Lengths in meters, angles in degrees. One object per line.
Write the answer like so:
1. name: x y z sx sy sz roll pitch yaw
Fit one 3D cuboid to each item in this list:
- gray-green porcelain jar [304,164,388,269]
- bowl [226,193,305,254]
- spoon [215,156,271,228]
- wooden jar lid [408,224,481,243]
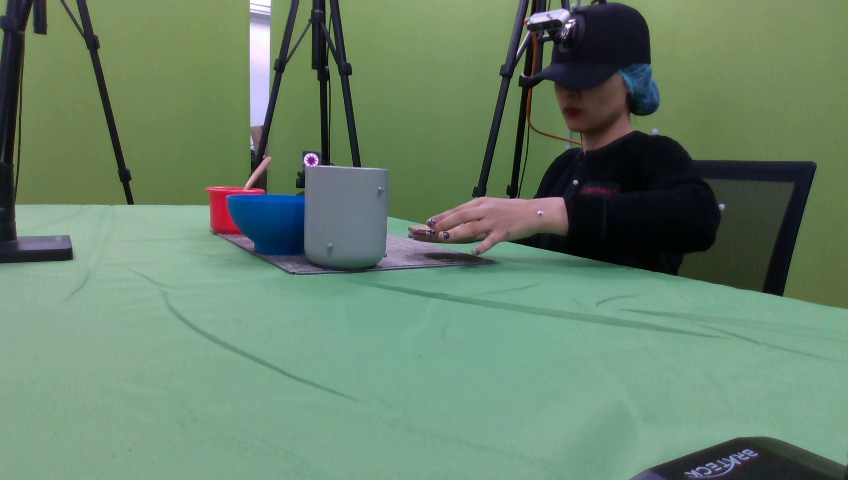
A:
1. gray-green porcelain jar: -0.099 -0.031 0.770 0.106 0.126 0.106 2 7 0
2. bowl: -0.205 -0.024 0.866 0.151 0.077 0.151 3 7 0
3. spoon: -0.319 -0.090 1.091 0.041 0.022 0.193 7 52 17
4. wooden jar lid: 0.030 -0.010 0.893 0.108 0.020 0.108 3 7 0
